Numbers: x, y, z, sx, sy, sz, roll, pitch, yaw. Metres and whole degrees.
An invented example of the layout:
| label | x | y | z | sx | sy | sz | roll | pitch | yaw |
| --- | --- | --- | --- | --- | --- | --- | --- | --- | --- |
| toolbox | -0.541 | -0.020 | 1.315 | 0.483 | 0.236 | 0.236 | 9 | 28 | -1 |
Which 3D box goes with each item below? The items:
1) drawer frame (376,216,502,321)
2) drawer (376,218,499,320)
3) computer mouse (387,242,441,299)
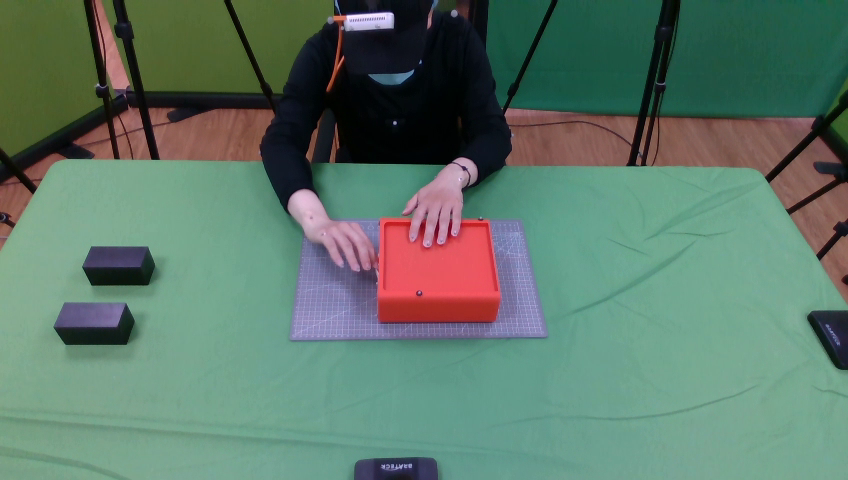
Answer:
| label | x | y | z | sx | sy | sz | roll | pitch | yaw |
| --- | --- | --- | --- | --- | --- | --- | --- | --- | --- |
| drawer frame | 0.021 | 0.049 | 1.102 | 0.214 | 0.083 | 0.200 | 0 | 46 | -4 |
| drawer | 0.020 | 0.050 | 1.101 | 0.212 | 0.073 | 0.193 | 1 | 46 | -3 |
| computer mouse | -0.017 | 0.052 | 1.113 | 0.062 | 0.041 | 0.117 | 26 | 58 | 10 |
